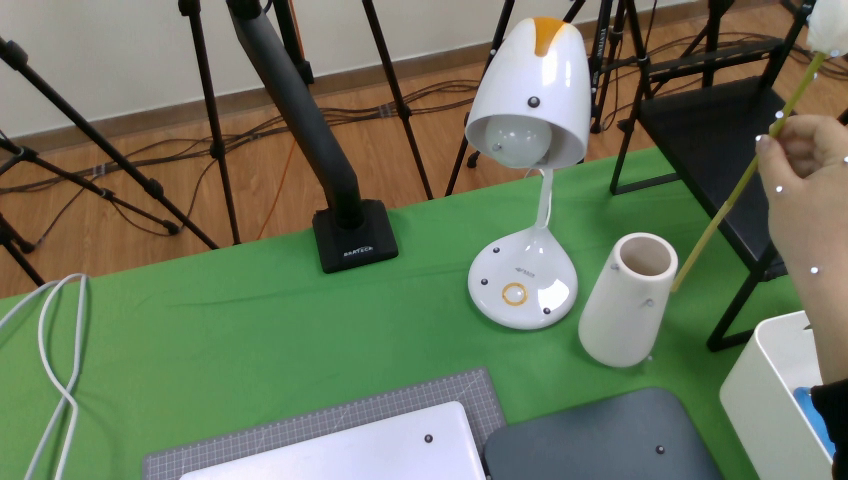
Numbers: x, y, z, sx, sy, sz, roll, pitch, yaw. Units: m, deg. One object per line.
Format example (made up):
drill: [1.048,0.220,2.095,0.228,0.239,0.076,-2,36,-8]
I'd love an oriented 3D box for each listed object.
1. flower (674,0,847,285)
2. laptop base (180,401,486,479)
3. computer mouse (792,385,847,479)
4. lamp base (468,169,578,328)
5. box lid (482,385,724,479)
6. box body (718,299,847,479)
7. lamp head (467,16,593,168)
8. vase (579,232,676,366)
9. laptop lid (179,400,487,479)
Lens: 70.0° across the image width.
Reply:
flower: [0.261,-0.056,0.489,0.044,0.365,0.038,-25,58,-14]
laptop base: [-0.094,0.333,0.687,0.355,0.023,0.233,-13,57,-7]
computer mouse: [0.475,0.226,0.725,0.062,0.041,0.116,17,52,18]
lamp base: [0.145,0.001,0.831,0.160,0.182,0.178,14,52,13]
box lid: [0.237,0.348,0.665,0.264,0.015,0.367,-13,53,-8]
box body: [0.515,0.251,0.632,0.254,0.162,0.360,-11,53,-5]
lamp head: [0.106,-0.139,0.563,0.112,0.113,0.122,11,71,12]
vase: [0.252,0.076,0.756,0.098,0.202,0.097,-2,51,3]
laptop lid: [-0.094,0.329,0.677,0.357,0.013,0.239,-12,55,-6]
